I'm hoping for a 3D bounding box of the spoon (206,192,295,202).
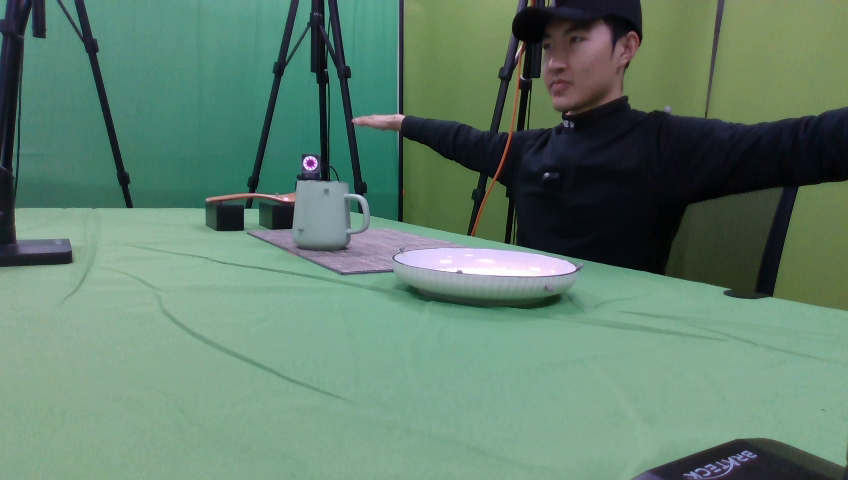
[{"bbox_3d":[-0.335,-0.087,1.214,0.195,0.021,0.041,-2,25,-28],"label":"spoon"}]

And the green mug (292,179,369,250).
[{"bbox_3d":[-0.144,-0.040,0.944,0.125,0.105,0.093,4,7,16],"label":"green mug"}]

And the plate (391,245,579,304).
[{"bbox_3d":[0.066,0.038,0.683,0.209,0.038,0.209,2,7,0],"label":"plate"}]
